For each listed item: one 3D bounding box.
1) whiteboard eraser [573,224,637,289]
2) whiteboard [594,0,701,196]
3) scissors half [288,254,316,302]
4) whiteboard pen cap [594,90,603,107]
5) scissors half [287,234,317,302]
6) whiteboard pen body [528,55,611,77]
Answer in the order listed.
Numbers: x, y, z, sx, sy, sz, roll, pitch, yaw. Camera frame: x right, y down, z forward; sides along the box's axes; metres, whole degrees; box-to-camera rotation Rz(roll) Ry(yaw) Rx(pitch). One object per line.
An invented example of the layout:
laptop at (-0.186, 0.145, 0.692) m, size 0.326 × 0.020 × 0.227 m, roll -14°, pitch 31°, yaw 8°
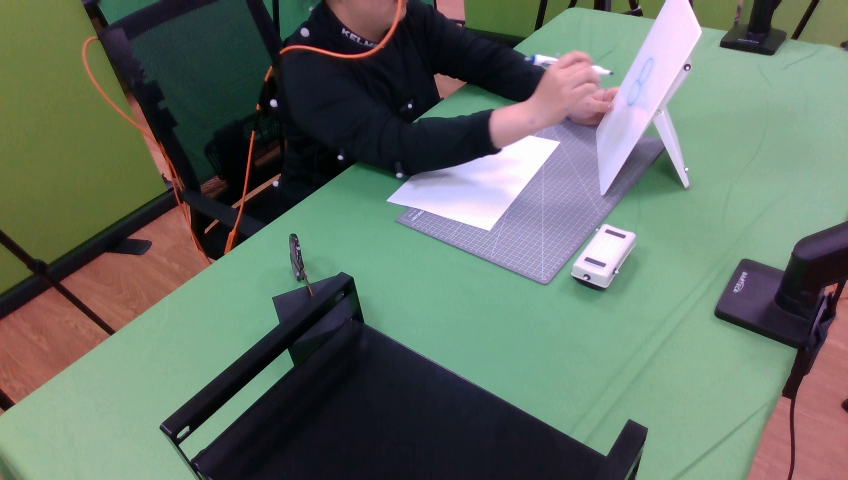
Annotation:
whiteboard eraser at (0.267, 0.025, 0.891) m, size 0.055 × 0.042 × 0.113 m, roll 19°, pitch 47°, yaw 31°
whiteboard at (0.420, -0.227, 1.010) m, size 0.144 × 0.305 × 0.216 m, roll 18°, pitch 42°, yaw -2°
scissors half at (-0.178, 0.058, 0.894) m, size 0.013 × 0.040 × 0.174 m, roll -16°, pitch 20°, yaw -18°
whiteboard pen cap at (0.364, -0.294, 1.261) m, size 0.018 × 0.033 × 0.018 m, roll -5°, pitch 41°, yaw 5°
scissors half at (-0.179, 0.040, 0.885) m, size 0.013 × 0.040 × 0.173 m, roll -11°, pitch 36°, yaw -20°
whiteboard pen body at (0.238, -0.281, 0.986) m, size 0.141 × 0.017 × 0.017 m, roll 8°, pitch 40°, yaw -7°
